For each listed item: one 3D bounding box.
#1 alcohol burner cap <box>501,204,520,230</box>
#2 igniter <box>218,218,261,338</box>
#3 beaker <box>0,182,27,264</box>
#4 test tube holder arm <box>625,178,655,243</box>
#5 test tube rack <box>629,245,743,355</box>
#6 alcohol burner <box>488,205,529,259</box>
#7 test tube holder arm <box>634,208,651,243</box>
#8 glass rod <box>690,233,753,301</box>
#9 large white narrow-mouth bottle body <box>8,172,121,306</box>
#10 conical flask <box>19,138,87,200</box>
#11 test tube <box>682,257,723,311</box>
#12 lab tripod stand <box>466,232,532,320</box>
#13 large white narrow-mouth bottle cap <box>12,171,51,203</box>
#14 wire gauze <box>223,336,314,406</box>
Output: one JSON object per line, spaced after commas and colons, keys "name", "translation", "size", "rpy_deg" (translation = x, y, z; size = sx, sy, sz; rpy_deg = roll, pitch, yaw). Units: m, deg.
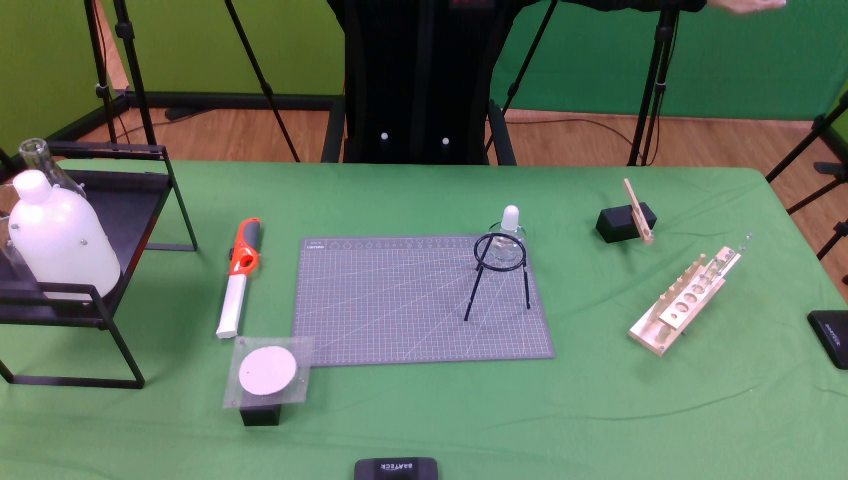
{"name": "alcohol burner cap", "translation": [0.164, -0.046, 1.133], "size": [0.034, 0.048, 0.033], "rpy_deg": [2, 40, -2]}
{"name": "igniter", "translation": [-0.336, 0.060, 1.111], "size": [0.057, 0.025, 0.274], "rpy_deg": [-7, 46, 4]}
{"name": "beaker", "translation": [-0.582, -0.019, 0.870], "size": [0.074, 0.101, 0.083], "rpy_deg": [5, 46, 1]}
{"name": "test tube holder arm", "translation": [0.433, -0.063, 1.220], "size": [0.013, 0.015, 0.177], "rpy_deg": [1, 47, -3]}
{"name": "test tube rack", "translation": [0.474, 0.095, 1.091], "size": [0.242, 0.085, 0.066], "rpy_deg": [-34, 56, -31]}
{"name": "alcohol burner", "translation": [0.163, -0.020, 1.158], "size": [0.078, 0.120, 0.077], "rpy_deg": [0, 47, 0]}
{"name": "test tube holder arm", "translation": [0.428, -0.030, 1.189], "size": [0.010, 0.015, 0.087], "rpy_deg": [1, 47, -2]}
{"name": "glass rod", "translation": [0.507, 0.053, 1.041], "size": [0.008, 0.200, 0.008], "rpy_deg": [5, 51, -6]}
{"name": "large white narrow-mouth bottle body", "translation": [-0.479, -0.007, 0.798], "size": [0.102, 0.195, 0.101], "rpy_deg": [2, 46, -2]}
{"name": "conical flask", "translation": [-0.576, -0.097, 0.930], "size": [0.075, 0.122, 0.075], "rpy_deg": [2, 46, -2]}
{"name": "test tube", "translation": [0.474, 0.080, 1.037], "size": [0.017, 0.151, 0.017], "rpy_deg": [1, 51, -1]}
{"name": "lab tripod stand", "translation": [0.125, 0.059, 1.065], "size": [0.148, 0.132, 0.147], "rpy_deg": [1, 45, 0]}
{"name": "large white narrow-mouth bottle cap", "translation": [-0.477, -0.065, 0.737], "size": [0.038, 0.024, 0.037], "rpy_deg": [2, 46, -2]}
{"name": "wire gauze", "translation": [-0.237, 0.197, 0.931], "size": [0.121, 0.011, 0.124], "rpy_deg": [1, 45, -4]}
